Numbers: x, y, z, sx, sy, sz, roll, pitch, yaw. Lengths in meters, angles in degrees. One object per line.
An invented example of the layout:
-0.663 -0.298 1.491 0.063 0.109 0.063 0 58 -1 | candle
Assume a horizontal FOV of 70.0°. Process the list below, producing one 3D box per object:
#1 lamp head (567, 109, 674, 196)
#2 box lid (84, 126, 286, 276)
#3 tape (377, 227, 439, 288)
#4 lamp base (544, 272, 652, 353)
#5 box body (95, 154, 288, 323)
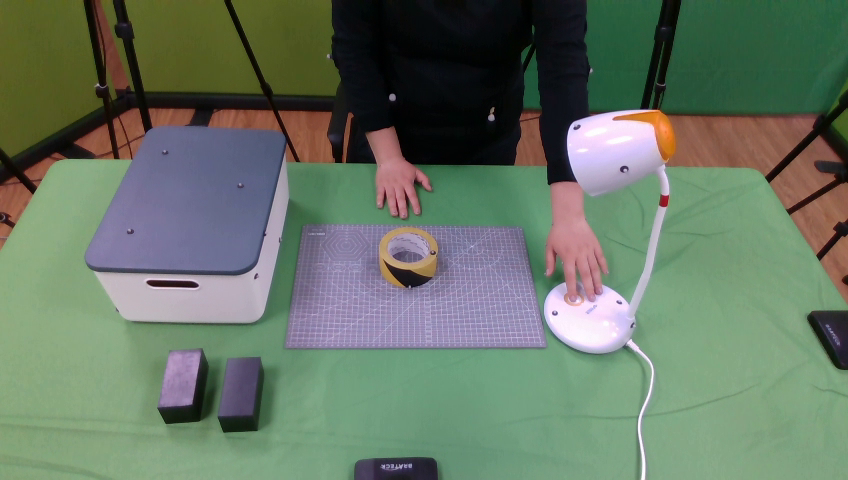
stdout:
0.272 -0.123 0.818 0.122 0.113 0.112 -9 35 37 | lamp head
-0.393 -0.081 1.046 0.263 0.015 0.369 2 46 -3 | box lid
-0.031 0.032 1.140 0.117 0.053 0.116 2 46 -2 | tape
0.309 0.086 1.029 0.178 0.181 0.160 32 52 21 | lamp base
-0.396 -0.031 1.100 0.254 0.161 0.361 1 46 -3 | box body
